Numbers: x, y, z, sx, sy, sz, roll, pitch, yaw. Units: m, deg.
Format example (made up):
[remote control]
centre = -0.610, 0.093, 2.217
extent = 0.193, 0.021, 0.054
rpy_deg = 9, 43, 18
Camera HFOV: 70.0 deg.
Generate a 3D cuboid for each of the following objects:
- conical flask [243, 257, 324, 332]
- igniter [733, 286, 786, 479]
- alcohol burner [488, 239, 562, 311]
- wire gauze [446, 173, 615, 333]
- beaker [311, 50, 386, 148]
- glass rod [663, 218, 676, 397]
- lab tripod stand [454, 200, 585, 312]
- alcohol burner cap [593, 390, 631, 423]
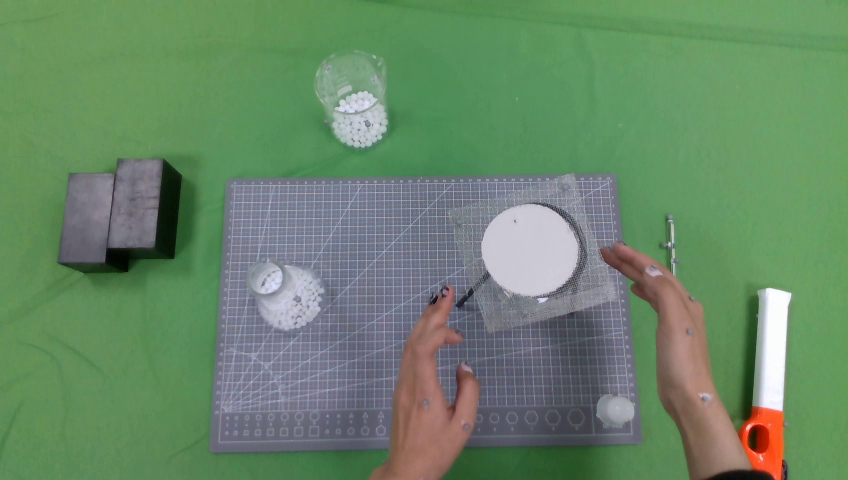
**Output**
[conical flask]
centre = -0.146, 0.049, 0.608
extent = 0.075, 0.122, 0.075
rpy_deg = 0, 76, 0
[igniter]
centre = 0.352, 0.185, 0.632
extent = 0.057, 0.025, 0.275
rpy_deg = 14, 76, -8
[alcohol burner]
centre = 0.106, 0.032, 0.619
extent = 0.078, 0.119, 0.077
rpy_deg = 1, 76, -2
[wire gauze]
centre = 0.095, 0.010, 0.545
extent = 0.125, 0.011, 0.121
rpy_deg = -16, 78, -3
[beaker]
centre = -0.077, -0.153, 0.673
extent = 0.084, 0.100, 0.073
rpy_deg = -41, 80, -10
[glass rod]
centre = 0.270, 0.071, 0.668
extent = 0.008, 0.008, 0.198
rpy_deg = 4, 76, 0
[lab tripod stand]
centre = 0.099, 0.025, 0.611
extent = 0.148, 0.132, 0.147
rpy_deg = 0, 78, 0
[alcohol burner cap]
centre = 0.196, 0.172, 0.623
extent = 0.034, 0.048, 0.033
rpy_deg = 0, 77, -1
